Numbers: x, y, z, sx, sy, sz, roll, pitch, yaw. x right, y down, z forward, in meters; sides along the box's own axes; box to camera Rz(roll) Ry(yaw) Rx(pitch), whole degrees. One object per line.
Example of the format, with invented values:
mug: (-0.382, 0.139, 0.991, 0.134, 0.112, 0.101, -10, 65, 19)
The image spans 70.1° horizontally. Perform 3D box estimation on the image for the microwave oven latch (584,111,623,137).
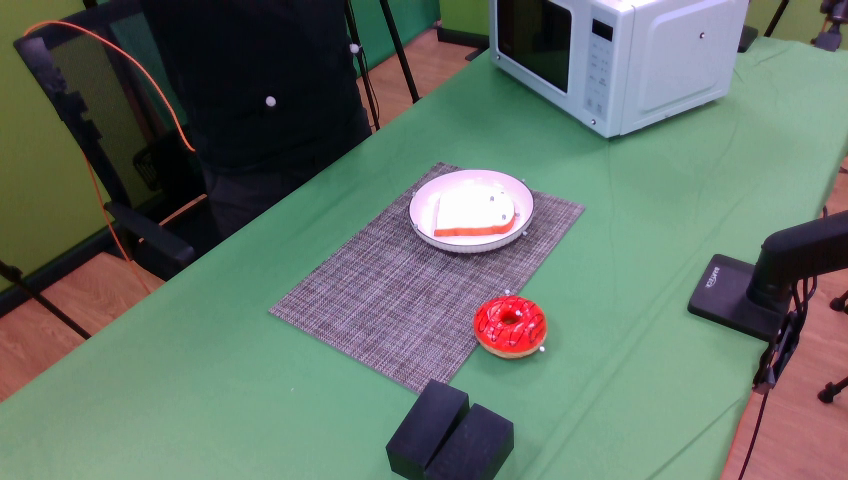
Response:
microwave oven latch: (0.337, -0.222, 1.142, 0.030, 0.029, 0.078, -21, 42, -14)

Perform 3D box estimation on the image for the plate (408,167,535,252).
plate: (0.078, -0.047, 0.996, 0.207, 0.039, 0.206, -4, 41, 4)

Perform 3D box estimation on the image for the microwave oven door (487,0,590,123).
microwave oven door: (0.232, -0.420, 1.231, 0.039, 0.245, 0.352, -22, 43, -16)

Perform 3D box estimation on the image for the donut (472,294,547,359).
donut: (0.114, 0.114, 0.803, 0.099, 0.048, 0.098, 0, 40, 1)

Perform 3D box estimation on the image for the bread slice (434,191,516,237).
bread slice: (0.086, -0.046, 0.996, 0.131, 0.019, 0.104, -1, 41, 7)

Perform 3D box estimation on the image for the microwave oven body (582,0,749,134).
microwave oven body: (0.382, -0.445, 1.246, 0.327, 0.261, 0.437, -22, 42, -16)
